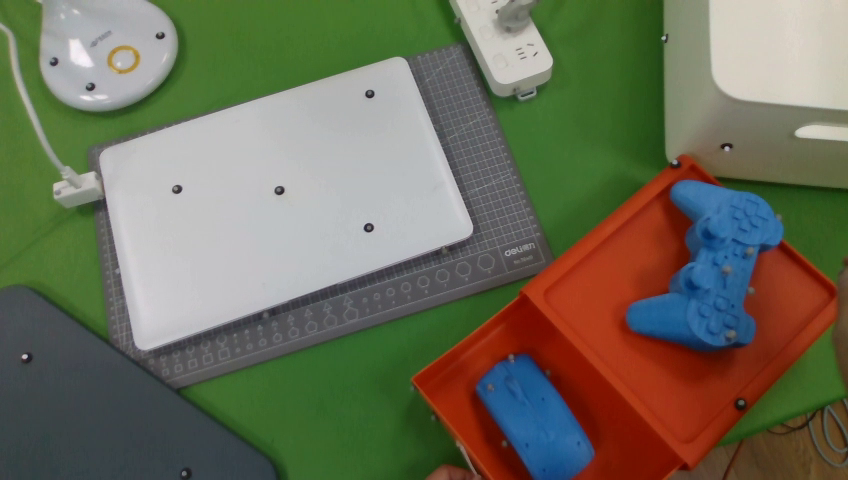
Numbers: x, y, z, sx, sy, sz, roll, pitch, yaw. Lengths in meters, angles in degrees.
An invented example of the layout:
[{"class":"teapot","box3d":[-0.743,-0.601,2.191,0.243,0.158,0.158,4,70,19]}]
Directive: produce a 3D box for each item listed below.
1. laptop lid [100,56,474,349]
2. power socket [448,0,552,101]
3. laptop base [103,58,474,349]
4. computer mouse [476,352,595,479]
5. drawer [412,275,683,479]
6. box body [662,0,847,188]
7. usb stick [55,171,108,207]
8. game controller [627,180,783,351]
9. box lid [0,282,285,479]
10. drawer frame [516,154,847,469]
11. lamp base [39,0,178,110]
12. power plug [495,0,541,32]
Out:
[{"class":"laptop lid","box3d":[-0.149,-0.051,0.638,0.357,0.013,0.240,-18,73,-4]},{"class":"power socket","box3d":[0.079,-0.264,0.713,0.072,0.033,0.225,-19,70,-7]},{"class":"laptop base","box3d":[-0.149,-0.049,0.650,0.354,0.023,0.234,-19,74,-5]},{"class":"computer mouse","box3d":[0.099,0.160,0.546,0.063,0.041,0.116,-30,68,-6]},{"class":"drawer","box3d":[0.129,0.140,0.538,0.212,0.074,0.193,-36,72,-11]},{"class":"box body","box3d":[0.390,-0.244,0.624,0.254,0.161,0.361,6,70,4]},{"class":"usb stick","box3d":[-0.358,-0.056,0.646,0.059,0.027,0.021,-15,64,-7]},{"class":"game controller","box3d":[0.245,0.021,0.520,0.097,0.052,0.154,24,73,8]},{"class":"box lid","box3d":[-0.342,0.225,0.560,0.370,0.015,0.262,30,74,12]},{"class":"drawer frame","box3d":[0.228,0.061,0.560,0.213,0.083,0.200,-39,72,-12]},{"class":"lamp base","box3d":[-0.387,-0.257,0.650,0.178,0.181,0.160,30,73,16]},{"class":"power plug","box3d":[0.117,-0.254,0.683,0.072,0.053,0.035,-9,68,-2]}]
